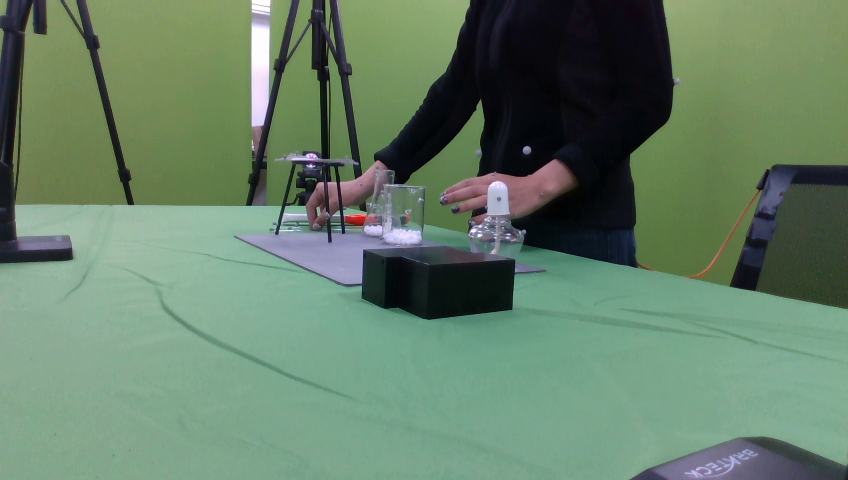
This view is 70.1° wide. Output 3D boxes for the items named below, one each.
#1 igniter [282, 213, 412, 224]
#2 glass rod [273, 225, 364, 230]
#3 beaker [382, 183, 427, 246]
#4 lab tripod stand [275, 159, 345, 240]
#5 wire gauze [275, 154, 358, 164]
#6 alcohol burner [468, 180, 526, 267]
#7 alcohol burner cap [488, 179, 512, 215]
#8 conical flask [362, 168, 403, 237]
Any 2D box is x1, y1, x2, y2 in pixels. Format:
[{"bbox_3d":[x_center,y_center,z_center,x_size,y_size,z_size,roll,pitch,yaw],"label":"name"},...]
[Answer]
[{"bbox_3d":[-0.159,-0.046,1.286,0.278,0.025,0.057,-1,-2,-22],"label":"igniter"},{"bbox_3d":[-0.199,-0.025,1.173,0.201,0.008,0.008,-3,8,-39],"label":"glass rod"},{"bbox_3d":[-0.033,-0.044,1.008,0.074,0.100,0.084,6,7,22],"label":"beaker"},{"bbox_3d":[-0.181,-0.072,1.039,0.148,0.131,0.148,4,8,0],"label":"lab tripod stand"},{"bbox_3d":[-0.179,-0.137,1.028,0.121,0.011,0.125,4,8,0],"label":"wire gauze"},{"bbox_3d":[0.101,-0.022,0.822,0.078,0.119,0.078,4,7,0],"label":"alcohol burner"},{"bbox_3d":[0.101,-0.058,0.816,0.034,0.048,0.034,-4,8,1],"label":"alcohol burner cap"},{"bbox_3d":[-0.073,-0.069,1.096,0.075,0.122,0.075,3,7,0],"label":"conical flask"}]
